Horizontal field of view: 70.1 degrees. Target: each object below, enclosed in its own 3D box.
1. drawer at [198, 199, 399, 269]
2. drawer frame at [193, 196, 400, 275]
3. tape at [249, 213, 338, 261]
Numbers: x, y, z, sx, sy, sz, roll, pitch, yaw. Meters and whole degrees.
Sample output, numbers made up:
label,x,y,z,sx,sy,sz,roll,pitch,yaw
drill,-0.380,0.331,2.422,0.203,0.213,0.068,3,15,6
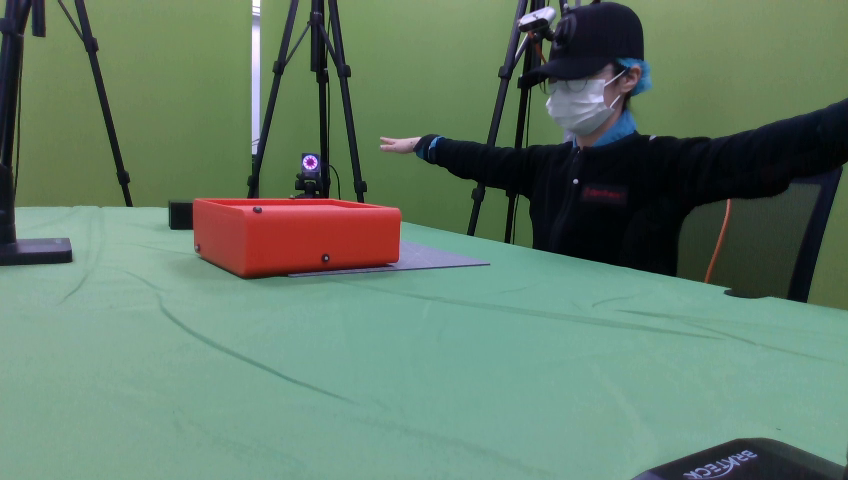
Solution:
label,x,y,z,sx,sy,sz,roll,pitch,yaw
drawer,-0.171,-0.014,0.818,0.213,0.073,0.193,-4,10,-36
drawer frame,-0.173,-0.014,0.815,0.215,0.082,0.200,-4,10,-37
tape,-0.174,-0.006,0.813,0.117,0.052,0.117,2,7,0
